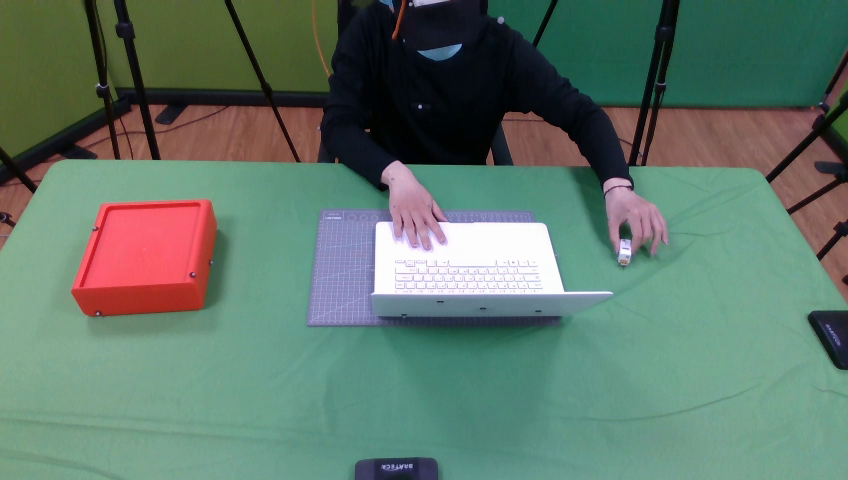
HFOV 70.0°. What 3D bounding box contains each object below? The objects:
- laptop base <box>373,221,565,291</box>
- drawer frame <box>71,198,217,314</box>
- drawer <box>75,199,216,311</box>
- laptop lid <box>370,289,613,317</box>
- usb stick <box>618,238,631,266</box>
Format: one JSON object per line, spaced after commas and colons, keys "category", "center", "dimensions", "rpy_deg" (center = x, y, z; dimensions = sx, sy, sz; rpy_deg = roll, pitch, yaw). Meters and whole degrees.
{"category": "laptop base", "center": [0.080, 0.049, 1.159], "dimensions": [0.355, 0.023, 0.234], "rpy_deg": [0, 43, -4]}
{"category": "drawer frame", "center": [-0.493, 0.024, 1.096], "dimensions": [0.202, 0.083, 0.212], "rpy_deg": [-3, 47, -8]}
{"category": "drawer", "center": [-0.494, 0.022, 1.097], "dimensions": [0.195, 0.073, 0.210], "rpy_deg": [-2, 47, -8]}
{"category": "laptop lid", "center": [0.092, 0.103, 0.966], "dimensions": [0.357, 0.242, 0.013], "rpy_deg": [0, 75, -5]}
{"category": "usb stick", "center": [0.397, 0.025, 1.200], "dimensions": [0.021, 0.027, 0.059], "rpy_deg": [8, 50, 13]}
